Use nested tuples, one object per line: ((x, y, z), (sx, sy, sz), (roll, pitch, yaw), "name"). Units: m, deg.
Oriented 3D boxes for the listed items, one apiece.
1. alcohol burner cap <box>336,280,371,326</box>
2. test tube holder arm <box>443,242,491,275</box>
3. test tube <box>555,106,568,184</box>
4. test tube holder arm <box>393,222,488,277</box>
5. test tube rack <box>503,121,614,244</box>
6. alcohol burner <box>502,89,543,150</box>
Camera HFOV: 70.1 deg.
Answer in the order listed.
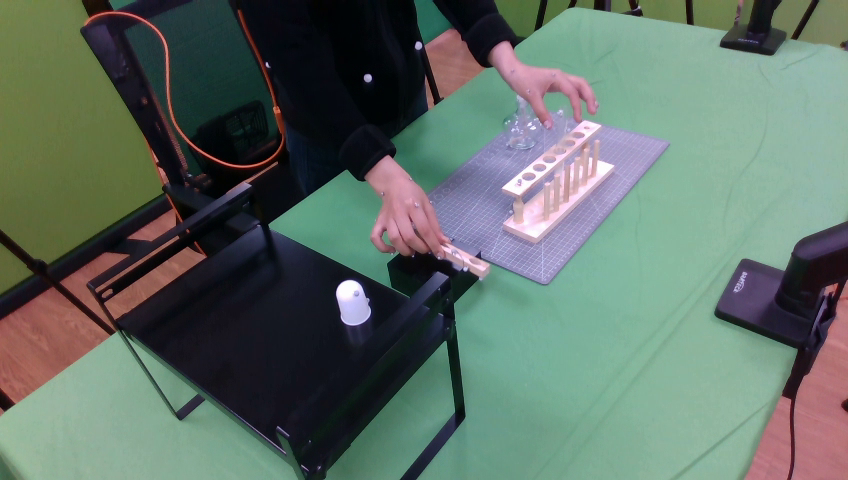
((-0.073, 0.061, 0.619), (0.034, 0.048, 0.033), (-4, 41, 4), "alcohol burner cap")
((0.056, 0.025, 0.843), (0.087, 0.015, 0.010), (27, 42, 35), "test tube holder arm")
((0.224, -0.151, 0.987), (0.017, 0.151, 0.017), (-4, 43, 4), "test tube")
((0.020, 0.011, 0.865), (0.177, 0.015, 0.013), (26, 42, 34), "test tube holder arm")
((0.230, -0.101, 1.006), (0.066, 0.085, 0.243), (26, 50, 34), "test tube rack")
((0.186, -0.233, 1.147), (0.078, 0.119, 0.077), (-4, 42, 4), "alcohol burner")
